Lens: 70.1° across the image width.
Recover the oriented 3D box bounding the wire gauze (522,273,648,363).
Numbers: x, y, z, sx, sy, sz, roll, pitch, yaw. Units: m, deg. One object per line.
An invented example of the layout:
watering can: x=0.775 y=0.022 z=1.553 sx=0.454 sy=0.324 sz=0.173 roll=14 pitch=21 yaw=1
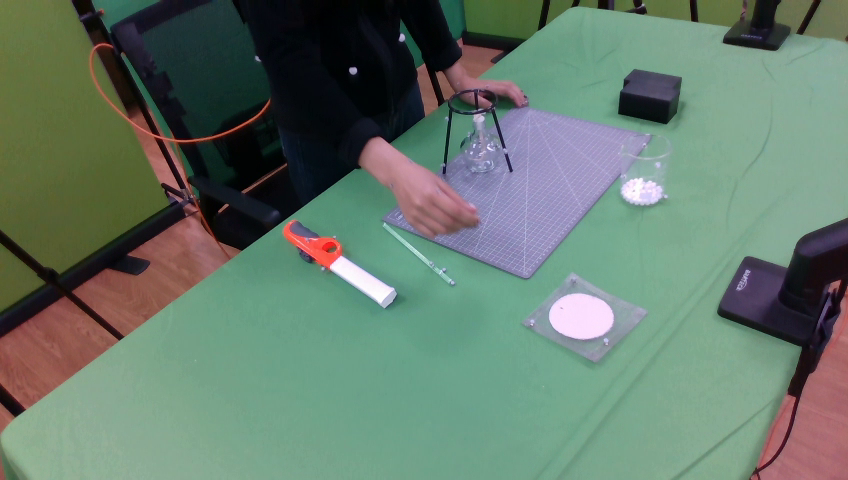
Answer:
wire gauze: x=0.220 y=0.105 z=0.828 sx=0.125 sy=0.011 sz=0.120 roll=-35 pitch=47 yaw=-30

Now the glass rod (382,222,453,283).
glass rod: x=-0.014 y=0.016 z=0.976 sx=0.008 sy=0.008 sz=0.198 roll=-29 pitch=44 yaw=-21

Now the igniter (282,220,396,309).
igniter: x=-0.146 y=0.032 z=0.966 sx=0.274 sy=0.025 sz=0.057 roll=30 pitch=65 yaw=37

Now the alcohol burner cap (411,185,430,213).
alcohol burner cap: x=-0.008 y=-0.073 z=1.050 sx=0.034 sy=0.048 sz=0.033 roll=-4 pitch=40 yaw=3

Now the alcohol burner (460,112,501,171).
alcohol burner: x=0.102 y=-0.186 z=1.106 sx=0.078 sy=0.119 sz=0.077 roll=-4 pitch=42 yaw=4

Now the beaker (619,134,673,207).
beaker: x=0.356 y=-0.111 z=0.986 sx=0.084 sy=0.101 sz=0.073 roll=-10 pitch=40 yaw=1

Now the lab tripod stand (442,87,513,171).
lab tripod stand: x=0.097 y=-0.200 z=1.108 sx=0.148 sy=0.132 sz=0.147 roll=-4 pitch=40 yaw=4
